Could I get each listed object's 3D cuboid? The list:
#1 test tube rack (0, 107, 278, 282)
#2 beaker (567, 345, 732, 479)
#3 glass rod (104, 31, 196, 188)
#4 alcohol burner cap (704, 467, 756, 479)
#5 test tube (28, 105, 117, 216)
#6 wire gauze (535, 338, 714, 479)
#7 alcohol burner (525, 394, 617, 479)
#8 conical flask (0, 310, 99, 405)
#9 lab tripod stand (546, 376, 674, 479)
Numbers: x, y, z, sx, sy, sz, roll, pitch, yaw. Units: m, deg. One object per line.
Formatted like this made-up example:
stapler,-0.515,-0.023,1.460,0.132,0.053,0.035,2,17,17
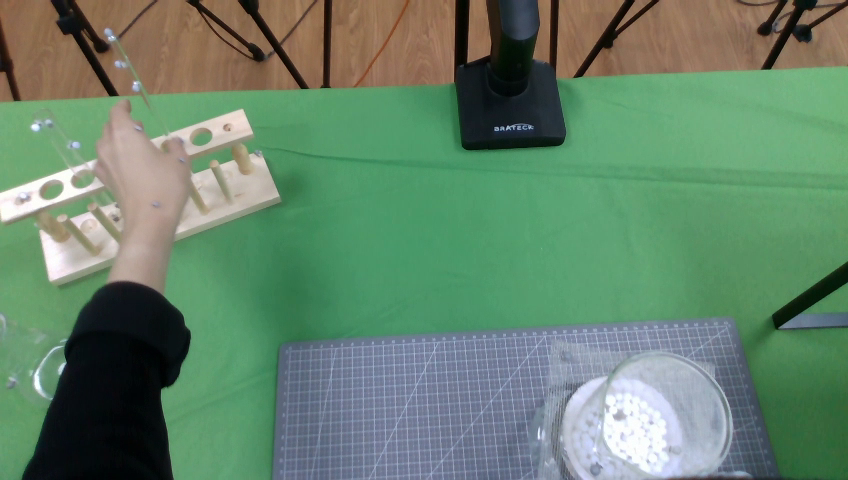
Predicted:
test tube rack,-0.283,-0.046,0.617,0.242,0.086,0.066,-22,66,-11
beaker,0.132,0.119,0.383,0.084,0.101,0.073,-25,67,-11
glass rod,-0.255,-0.113,0.576,0.008,0.201,0.008,-1,56,2
alcohol burner cap,0.264,0.209,0.517,0.034,0.048,0.033,0,64,0
test tube,-0.327,-0.069,0.573,0.017,0.151,0.017,1,58,0
wire gauze,0.143,0.135,0.428,0.121,0.011,0.124,10,63,2
alcohol burner,0.125,0.161,0.500,0.078,0.120,0.077,1,62,-1
conical flask,-0.348,0.096,0.528,0.075,0.123,0.074,0,63,1
lab tripod stand,0.137,0.169,0.485,0.148,0.132,0.147,1,63,-1
